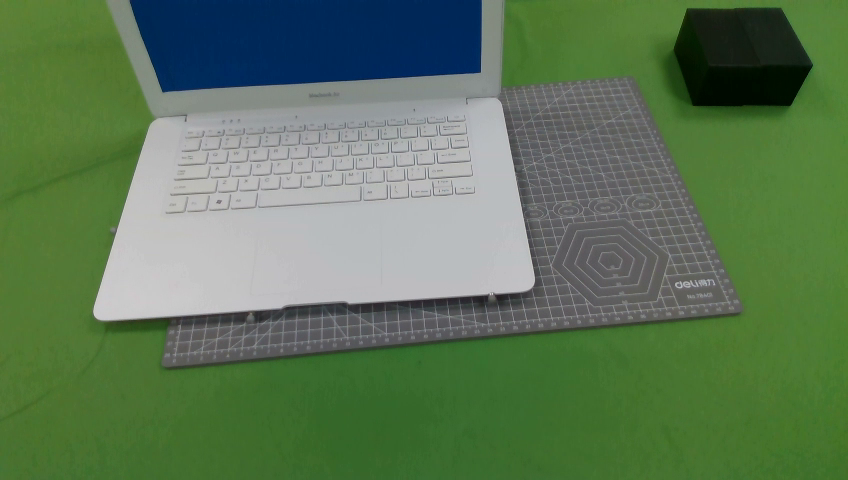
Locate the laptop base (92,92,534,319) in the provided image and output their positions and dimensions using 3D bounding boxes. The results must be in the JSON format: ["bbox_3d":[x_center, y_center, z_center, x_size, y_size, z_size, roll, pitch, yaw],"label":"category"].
[{"bbox_3d":[-0.094,-0.040,0.548,0.354,0.023,0.233,-4,56,-1],"label":"laptop base"}]

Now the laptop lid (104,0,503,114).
[{"bbox_3d":[-0.105,-0.221,0.536,0.357,0.244,0.013,-5,44,0],"label":"laptop lid"}]
